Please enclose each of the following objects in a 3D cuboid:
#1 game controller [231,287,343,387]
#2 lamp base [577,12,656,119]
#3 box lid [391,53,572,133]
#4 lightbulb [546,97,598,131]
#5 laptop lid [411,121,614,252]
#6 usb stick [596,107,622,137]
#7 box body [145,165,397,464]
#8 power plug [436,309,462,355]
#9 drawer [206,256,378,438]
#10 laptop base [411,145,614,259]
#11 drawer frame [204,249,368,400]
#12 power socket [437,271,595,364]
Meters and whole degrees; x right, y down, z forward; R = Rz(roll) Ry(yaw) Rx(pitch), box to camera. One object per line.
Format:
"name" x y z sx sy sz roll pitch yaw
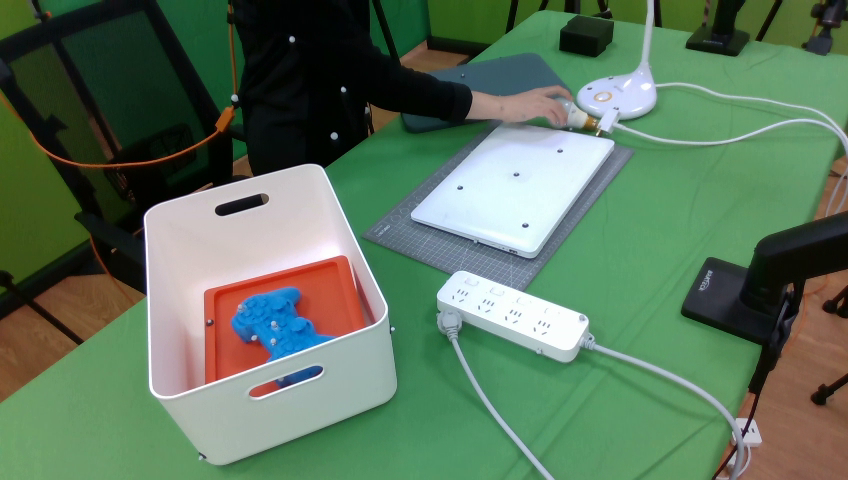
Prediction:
"game controller" -0.167 0.110 0.734 0.097 0.052 0.154 -35 47 -22
"lamp base" 0.404 -0.359 1.218 0.180 0.181 0.159 -24 43 -23
"box lid" 0.122 -0.339 1.366 0.372 0.015 0.261 -12 40 -5
"lightbulb" 0.293 -0.242 1.193 0.108 0.059 0.059 21 43 -1
"laptop lid" 0.164 -0.112 1.068 0.240 0.013 0.357 19 46 30
"usb stick" 0.355 -0.223 1.168 0.027 0.059 0.022 37 14 34
"box body" -0.205 0.080 0.802 0.255 0.161 0.361 -18 41 -13
"power plug" 0.032 0.126 0.810 0.035 0.053 0.072 3 59 7
"drawer" -0.177 0.130 0.787 0.195 0.073 0.210 -14 39 -9
"laptop base" 0.167 -0.102 1.075 0.234 0.023 0.355 17 45 30
"drawer frame" -0.174 0.129 0.791 0.202 0.083 0.212 -16 45 -8
"power socket" 0.118 0.102 0.830 0.225 0.033 0.072 20 48 28
